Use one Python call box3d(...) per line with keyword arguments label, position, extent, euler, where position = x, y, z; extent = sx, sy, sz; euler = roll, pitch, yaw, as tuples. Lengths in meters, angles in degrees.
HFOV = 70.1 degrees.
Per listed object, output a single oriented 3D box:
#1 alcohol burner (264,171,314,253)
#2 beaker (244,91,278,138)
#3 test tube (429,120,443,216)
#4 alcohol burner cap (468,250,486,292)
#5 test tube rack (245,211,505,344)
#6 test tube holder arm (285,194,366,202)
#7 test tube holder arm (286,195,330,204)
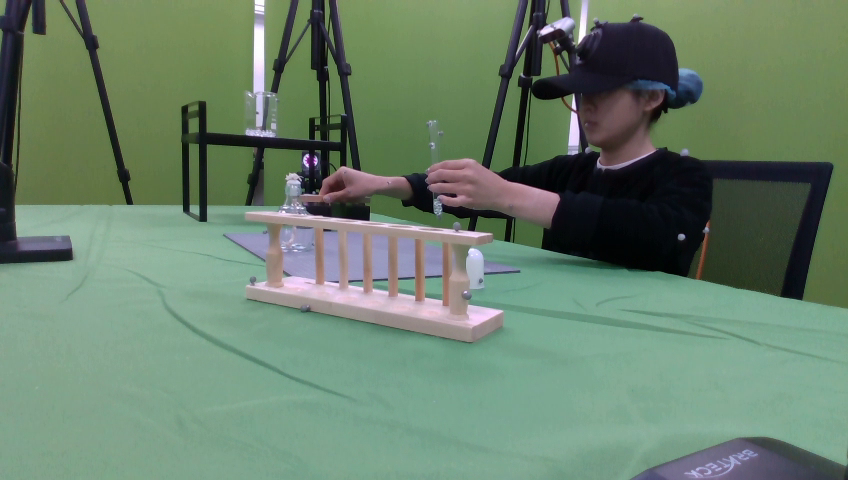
box3d(label="alcohol burner", position=(-0.194, -0.042, 0.888), extent=(0.078, 0.119, 0.078), euler=(3, 5, 0))
box3d(label="beaker", position=(-0.367, -0.280, 1.356), extent=(0.074, 0.100, 0.084), euler=(4, 8, 6))
box3d(label="test tube", position=(0.020, -0.113, 0.951), extent=(0.017, 0.150, 0.017), euler=(-3, 8, 1))
box3d(label="alcohol burner cap", position=(0.056, 0.035, 0.690), extent=(0.034, 0.048, 0.034), euler=(2, 7, 0))
box3d(label="test tube rack", position=(-0.049, 0.025, 0.547), extent=(0.241, 0.085, 0.067), euler=(7, 8, 29))
box3d(label="test tube holder arm", position=(-0.195, -0.084, 1.224), extent=(0.179, 0.015, 0.013), euler=(-4, 31, -39))
box3d(label="test tube holder arm", position=(-0.228, -0.079, 1.192), extent=(0.088, 0.015, 0.010), euler=(-2, 30, -36))
